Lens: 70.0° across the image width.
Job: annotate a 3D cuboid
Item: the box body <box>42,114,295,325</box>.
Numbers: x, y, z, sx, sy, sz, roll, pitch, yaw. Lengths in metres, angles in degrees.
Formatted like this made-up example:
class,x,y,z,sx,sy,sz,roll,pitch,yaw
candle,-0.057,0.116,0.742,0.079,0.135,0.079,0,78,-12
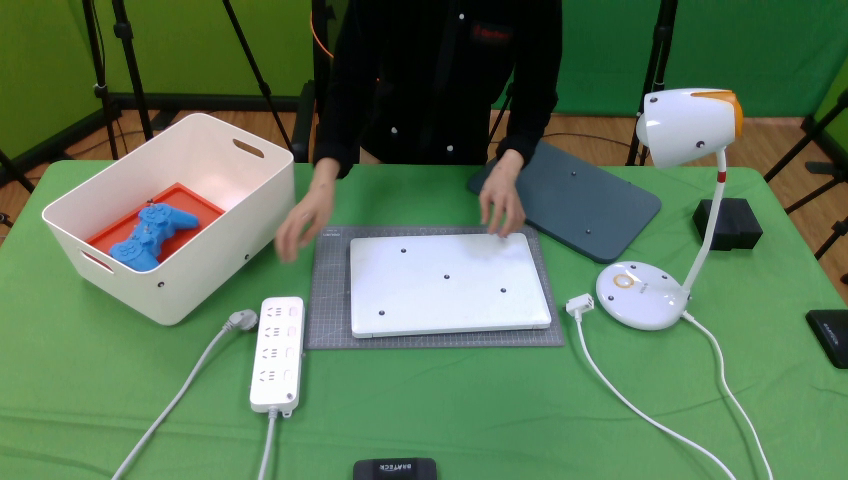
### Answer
class,x,y,z,sx,sy,sz,roll,pitch,yaw
box body,-0.437,-0.046,1.110,0.253,0.161,0.363,24,49,19

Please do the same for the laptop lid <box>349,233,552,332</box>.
class,x,y,z,sx,sy,sz,roll,pitch,yaw
laptop lid,0.040,0.070,1.119,0.357,0.013,0.240,-1,44,-5

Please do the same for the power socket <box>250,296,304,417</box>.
class,x,y,z,sx,sy,sz,roll,pitch,yaw
power socket,-0.239,0.182,0.996,0.072,0.033,0.225,-2,47,-5

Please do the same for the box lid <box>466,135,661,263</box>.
class,x,y,z,sx,sy,sz,roll,pitch,yaw
box lid,0.306,-0.102,1.327,0.370,0.015,0.263,32,52,25

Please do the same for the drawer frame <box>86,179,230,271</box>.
class,x,y,z,sx,sy,sz,roll,pitch,yaw
drawer frame,-0.453,0.010,1.100,0.201,0.083,0.213,28,55,22

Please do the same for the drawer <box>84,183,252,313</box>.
class,x,y,z,sx,sy,sz,roll,pitch,yaw
drawer,-0.457,0.008,1.099,0.194,0.073,0.211,29,49,21

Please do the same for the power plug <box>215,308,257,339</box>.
class,x,y,z,sx,sy,sz,roll,pitch,yaw
power plug,-0.317,0.143,1.024,0.072,0.053,0.035,-32,58,-9

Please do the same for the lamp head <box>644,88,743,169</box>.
class,x,y,z,sx,sy,sz,roll,pitch,yaw
lamp head,0.380,-0.161,0.851,0.122,0.113,0.112,-4,42,25

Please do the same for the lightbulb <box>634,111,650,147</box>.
class,x,y,z,sx,sy,sz,roll,pitch,yaw
lightbulb,0.348,-0.163,0.852,0.059,0.060,0.107,-36,19,-32

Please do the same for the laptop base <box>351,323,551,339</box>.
class,x,y,z,sx,sy,sz,roll,pitch,yaw
laptop base,0.040,0.080,1.125,0.355,0.023,0.234,-2,43,-6

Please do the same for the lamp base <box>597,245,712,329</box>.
class,x,y,z,sx,sy,sz,roll,pitch,yaw
lamp base,0.418,0.051,1.071,0.179,0.181,0.160,22,49,13

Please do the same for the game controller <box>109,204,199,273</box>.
class,x,y,z,sx,sy,sz,roll,pitch,yaw
game controller,-0.467,-0.005,1.044,0.097,0.052,0.154,8,45,10

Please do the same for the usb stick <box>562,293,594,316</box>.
class,x,y,z,sx,sy,sz,roll,pitch,yaw
usb stick,0.274,0.118,1.088,0.021,0.059,0.027,40,44,-28
